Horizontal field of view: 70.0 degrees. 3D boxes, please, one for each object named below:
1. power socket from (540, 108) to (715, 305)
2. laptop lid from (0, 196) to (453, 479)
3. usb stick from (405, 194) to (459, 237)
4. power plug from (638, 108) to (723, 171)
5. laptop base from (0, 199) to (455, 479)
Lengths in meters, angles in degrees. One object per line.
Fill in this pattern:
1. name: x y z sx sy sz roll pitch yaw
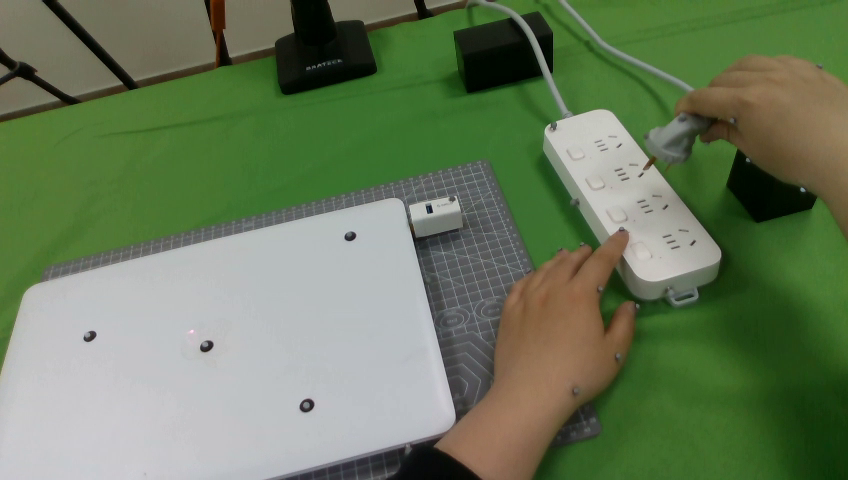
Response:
1. power socket: 0.170 -0.041 0.533 0.072 0.033 0.224 -15 48 -5
2. laptop lid: -0.171 0.086 0.479 0.357 0.013 0.239 -13 51 -1
3. usb stick: 0.000 -0.020 0.539 0.059 0.027 0.021 -15 48 1
4. power plug: 0.204 -0.076 0.479 0.073 0.053 0.035 -3 52 -21
5. laptop base: -0.169 0.092 0.490 0.354 0.023 0.233 -14 52 -2
